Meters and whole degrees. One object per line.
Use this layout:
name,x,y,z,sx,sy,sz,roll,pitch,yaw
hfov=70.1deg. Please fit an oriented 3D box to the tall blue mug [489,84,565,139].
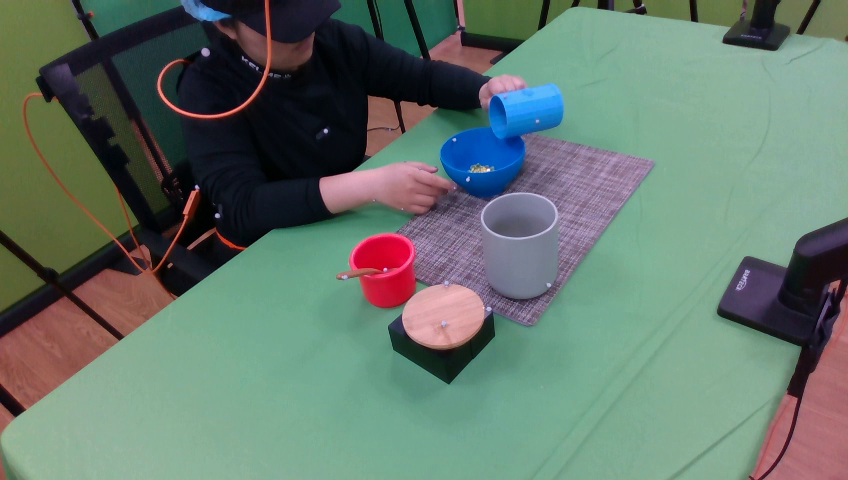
tall blue mug,0.174,-0.228,1.068,0.108,0.078,0.106,-15,17,-15

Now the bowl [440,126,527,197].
bowl,0.107,-0.130,1.070,0.151,0.077,0.150,-5,40,5

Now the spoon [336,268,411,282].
spoon,-0.071,0.047,0.850,0.041,0.195,0.021,18,93,24

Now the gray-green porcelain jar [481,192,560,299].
gray-green porcelain jar,0.138,0.012,0.858,0.106,0.127,0.105,-6,40,5

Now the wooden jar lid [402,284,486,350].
wooden jar lid,0.026,0.101,0.786,0.108,0.021,0.108,-5,39,4
